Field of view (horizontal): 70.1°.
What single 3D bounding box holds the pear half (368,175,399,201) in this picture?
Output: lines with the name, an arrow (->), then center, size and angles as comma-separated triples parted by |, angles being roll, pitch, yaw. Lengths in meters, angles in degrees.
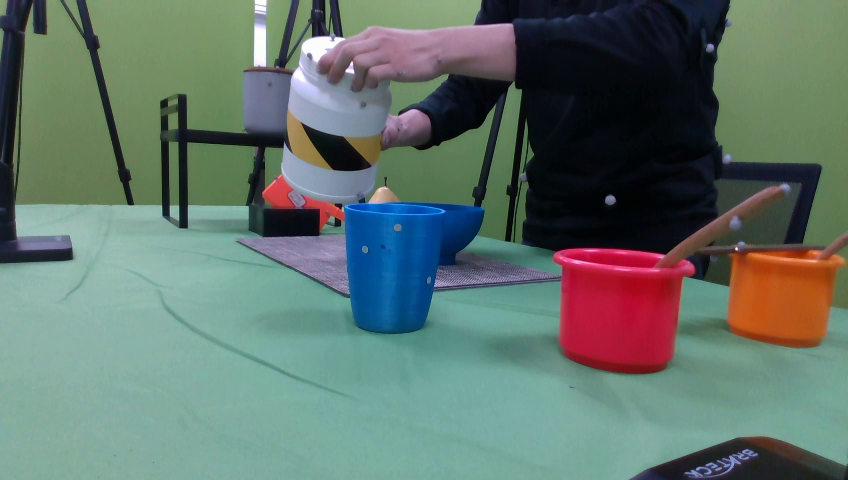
pear half -> -0.064, -0.061, 1.077 | 0.055, 0.110, 0.077 | 9, 13, 39

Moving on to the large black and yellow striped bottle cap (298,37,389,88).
large black and yellow striped bottle cap -> -0.100, -0.225, 0.763 | 0.115, 0.019, 0.115 | 12, 36, -9

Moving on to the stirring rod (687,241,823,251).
stirring rod -> 0.290, 0.005, 0.525 | 0.177, 0.006, 0.014 | -1, 5, -26

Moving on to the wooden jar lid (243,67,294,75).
wooden jar lid -> -0.319, -0.342, 1.254 | 0.108, 0.020, 0.108 | 3, 8, 0

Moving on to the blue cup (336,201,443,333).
blue cup -> -0.029, 0.021, 0.508 | 0.093, 0.100, 0.092 | 3, 9, 0

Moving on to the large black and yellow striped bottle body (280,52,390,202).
large black and yellow striped bottle body -> -0.118, -0.159, 0.809 | 0.131, 0.184, 0.130 | 11, 35, -7

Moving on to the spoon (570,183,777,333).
spoon -> 0.160, 0.020, 0.413 | 0.042, 0.021, 0.193 | 1, -36, -24

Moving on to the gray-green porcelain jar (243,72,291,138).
gray-green porcelain jar -> -0.322, -0.279, 1.263 | 0.106, 0.126, 0.106 | 3, 8, 0

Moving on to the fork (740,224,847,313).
fork -> 0.323, 0.013, 0.485 | 0.028, 0.018, 0.207 | 8, -37, -6

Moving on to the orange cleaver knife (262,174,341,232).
orange cleaver knife -> -0.201, -0.056, 1.136 | 0.212, 0.077, 0.012 | 31, -4, -32

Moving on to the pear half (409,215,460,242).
pear half -> 0.012, -0.019, 0.848 | 0.070, 0.031, 0.088 | 4, 11, 33

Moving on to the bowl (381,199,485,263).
bowl -> 0.008, -0.012, 0.842 | 0.151, 0.077, 0.151 | 2, 8, 0
